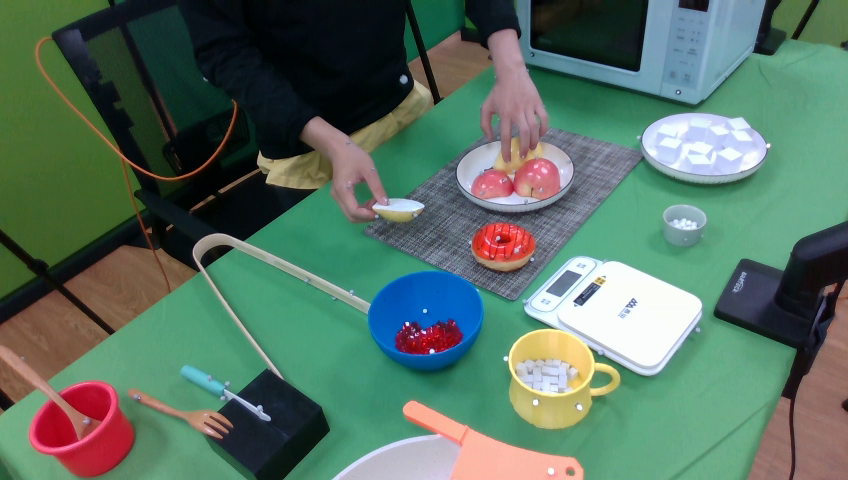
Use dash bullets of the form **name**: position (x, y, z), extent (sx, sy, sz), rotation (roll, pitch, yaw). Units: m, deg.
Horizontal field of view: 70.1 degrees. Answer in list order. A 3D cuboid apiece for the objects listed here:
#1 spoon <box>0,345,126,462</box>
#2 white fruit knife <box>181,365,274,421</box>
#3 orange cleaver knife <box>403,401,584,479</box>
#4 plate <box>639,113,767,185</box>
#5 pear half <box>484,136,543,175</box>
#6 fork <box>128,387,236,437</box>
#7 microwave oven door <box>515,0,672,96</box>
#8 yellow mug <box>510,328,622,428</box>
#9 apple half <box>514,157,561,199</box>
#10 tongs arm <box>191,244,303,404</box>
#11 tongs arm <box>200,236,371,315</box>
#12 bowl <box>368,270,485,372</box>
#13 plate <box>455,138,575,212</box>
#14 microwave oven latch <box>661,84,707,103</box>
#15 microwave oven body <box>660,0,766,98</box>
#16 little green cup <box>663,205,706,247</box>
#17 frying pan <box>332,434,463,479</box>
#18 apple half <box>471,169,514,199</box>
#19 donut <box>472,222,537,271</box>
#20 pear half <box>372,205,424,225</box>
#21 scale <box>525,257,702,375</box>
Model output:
- **spoon**: position (-0.434, 0.192, 0.720), extent (0.194, 0.021, 0.042), rotation (47, 53, -7)
- **white fruit knife**: position (-0.246, 0.188, 0.747), extent (0.205, 0.027, 0.016), rotation (9, 41, 41)
- **orange cleaver knife**: position (0.062, 0.222, 0.609), extent (0.210, 0.012, 0.077), rotation (15, 48, 25)
- **plate**: position (0.489, -0.157, 1.074), extent (0.207, 0.039, 0.206), rotation (-4, 40, 4)
- **pear half**: position (0.157, -0.153, 1.090), extent (0.110, 0.056, 0.076), rotation (-23, 40, -4)
- **fork**: position (-0.305, 0.207, 0.744), extent (0.206, 0.019, 0.028), rotation (3, 40, 36)
- **microwave oven door**: position (0.343, -0.455, 1.259), extent (0.353, 0.245, 0.039), rotation (26, 51, 33)
- **yellow mug**: position (0.168, 0.164, 0.721), extent (0.130, 0.064, 0.099), rotation (0, 40, 8)
- **apple half**: position (0.195, -0.112, 1.032), extent (0.080, 0.053, 0.075), rotation (14, 42, 28)
- **tongs arm**: position (-0.268, 0.110, 0.882), extent (0.028, 0.028, 0.384), rotation (-35, 46, -19)
- **tongs arm**: position (-0.209, 0.063, 0.924), extent (0.381, 0.026, 0.051), rotation (23, 52, 32)
- **bowl**: position (0.007, 0.119, 0.791), extent (0.151, 0.077, 0.150), rotation (-5, 39, 4)
- **plate**: position (0.159, -0.111, 1.063), extent (0.209, 0.038, 0.208), rotation (-4, 40, 4)
- **microwave oven latch**: position (0.517, -0.296, 1.204), extent (0.078, 0.029, 0.030), rotation (27, 52, 35)
- **microwave oven body**: position (0.472, -0.513, 1.317), extent (0.438, 0.261, 0.327), rotation (26, 51, 34)
- **little green cup**: position (0.396, -0.020, 0.926), extent (0.061, 0.039, 0.061), rotation (-4, 40, 4)
- **frying pan**: position (-0.089, 0.306, 0.564), extent (0.487, 0.103, 0.306), rotation (10, 41, 7)
- **apple half**: position (0.118, -0.105, 1.056), extent (0.081, 0.033, 0.081), rotation (-3, 40, 3)
- **donut**: position (0.123, 0.008, 0.923), extent (0.099, 0.048, 0.098), rotation (-3, 38, 3)
- **pear half**: position (-0.042, -0.039, 0.931), extent (0.088, 0.031, 0.070), rotation (-9, 9, -40)
- **scale**: position (0.254, 0.091, 0.821), extent (0.199, 0.032, 0.149), rotation (28, 51, 35)
